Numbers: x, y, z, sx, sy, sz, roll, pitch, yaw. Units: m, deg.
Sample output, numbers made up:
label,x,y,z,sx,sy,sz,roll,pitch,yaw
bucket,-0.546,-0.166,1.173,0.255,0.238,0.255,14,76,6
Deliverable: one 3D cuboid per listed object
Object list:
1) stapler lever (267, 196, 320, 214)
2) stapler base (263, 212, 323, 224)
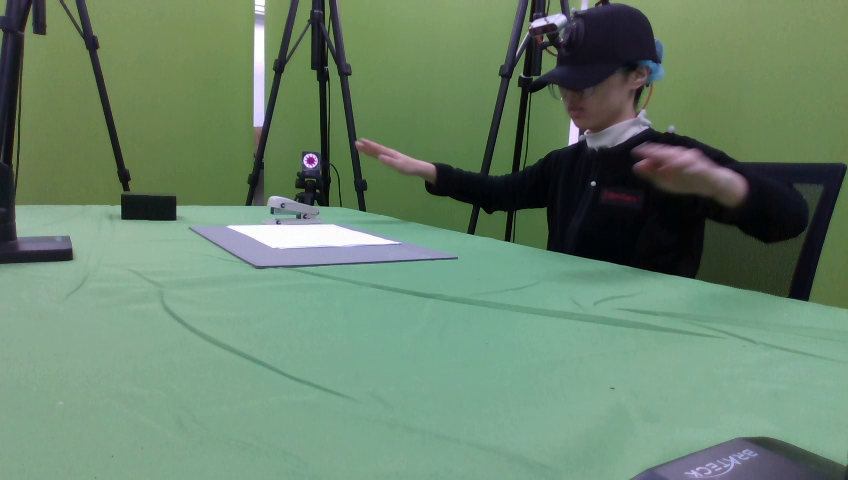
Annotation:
label,x,y,z,sx,sy,sz,roll,pitch,yaw
stapler lever,-0.275,-0.073,1.277,0.026,0.040,0.119,12,10,43
stapler base,-0.277,-0.048,1.279,0.041,0.024,0.131,12,10,43
